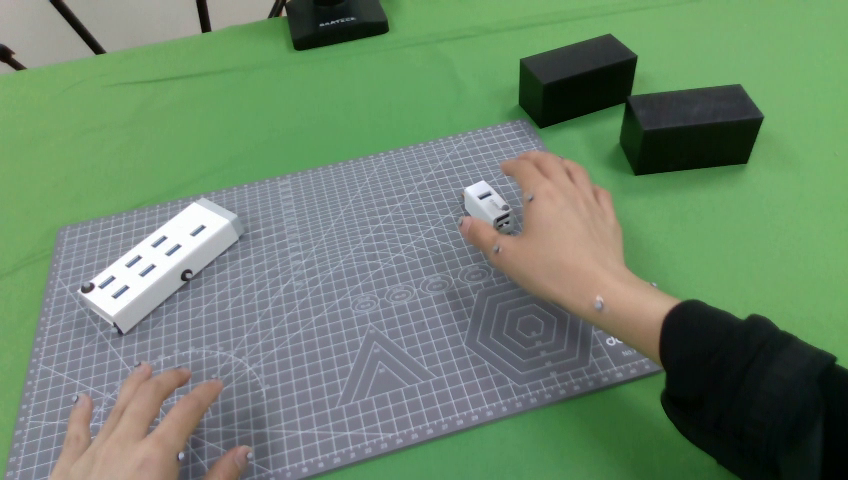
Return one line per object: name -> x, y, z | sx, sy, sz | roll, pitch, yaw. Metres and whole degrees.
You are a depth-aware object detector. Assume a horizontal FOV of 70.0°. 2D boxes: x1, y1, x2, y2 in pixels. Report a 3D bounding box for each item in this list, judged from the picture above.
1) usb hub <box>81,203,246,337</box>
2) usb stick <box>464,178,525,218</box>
usb hub -> -0.209, 0.020, 0.494 | 0.049, 0.025, 0.125 | 25, 53, 28
usb stick -> 0.054, -0.034, 0.502 | 0.021, 0.027, 0.059 | -33, 15, -35
